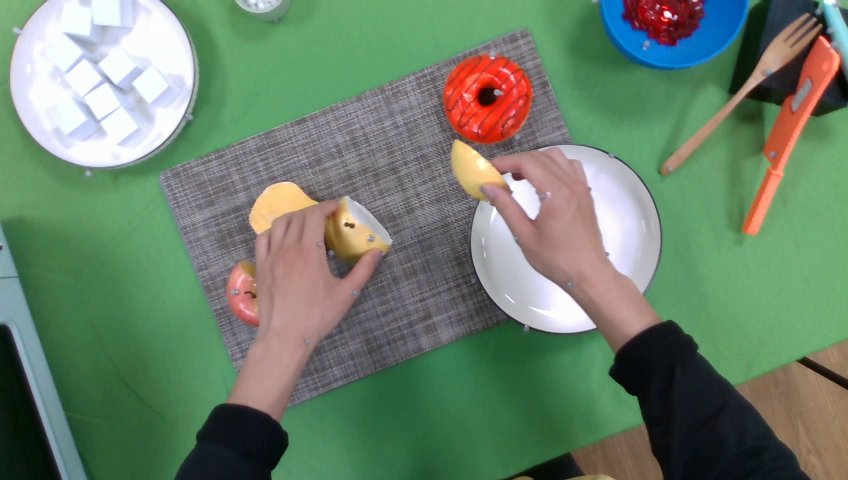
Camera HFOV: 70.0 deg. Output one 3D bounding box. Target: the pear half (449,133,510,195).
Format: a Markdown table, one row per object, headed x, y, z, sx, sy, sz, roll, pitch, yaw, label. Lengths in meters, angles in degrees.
| x | y | z | sx | sy | sz | roll | pitch | yaw | label |
| --- | --- | --- | --- | --- | --- | --- | --- | --- | --- |
| 0.048 | -0.063 | 0.573 | 0.031 | 0.089 | 0.069 | -40 | 46 | 1 | pear half |

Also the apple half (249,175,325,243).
| x | y | z | sx | sy | sz | roll | pitch | yaw | label |
| --- | --- | --- | --- | --- | --- | --- | --- | --- | --- |
| -0.153 | -0.028 | 0.670 | 0.081 | 0.033 | 0.080 | 4 | 68 | -9 | apple half |

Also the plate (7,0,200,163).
| x | y | z | sx | sy | sz | roll | pitch | yaw | label |
| --- | --- | --- | --- | --- | --- | --- | --- | --- | --- |
| -0.350 | -0.188 | 0.676 | 0.208 | 0.039 | 0.207 | 0 | 91 | 1 | plate |

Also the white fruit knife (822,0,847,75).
| x | y | z | sx | sy | sz | roll | pitch | yaw | label |
| --- | --- | --- | --- | --- | --- | --- | --- | --- | --- |
| 0.421 | -0.247 | 0.627 | 0.027 | 0.016 | 0.207 | -20 | 88 | -28 | white fruit knife |

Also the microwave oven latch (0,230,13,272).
| x | y | z | sx | sy | sz | roll | pitch | yaw | label |
| --- | --- | --- | --- | --- | --- | --- | --- | --- | --- |
| -0.481 | -0.002 | 0.661 | 0.030 | 0.029 | 0.079 | -18 | 91 | 0 | microwave oven latch |

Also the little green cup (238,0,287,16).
| x | y | z | sx | sy | sz | roll | pitch | yaw | label |
| --- | --- | --- | --- | --- | --- | --- | --- | --- | --- |
| -0.180 | -0.281 | 0.673 | 0.061 | 0.038 | 0.061 | 0 | 90 | 1 | little green cup |

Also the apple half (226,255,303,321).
| x | y | z | sx | sy | sz | roll | pitch | yaw | label |
| --- | --- | --- | --- | --- | --- | --- | --- | --- | --- |
| -0.178 | 0.058 | 0.656 | 0.081 | 0.074 | 0.053 | 33 | 95 | -3 | apple half |

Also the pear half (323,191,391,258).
| x | y | z | sx | sy | sz | roll | pitch | yaw | label |
| --- | --- | --- | --- | --- | --- | --- | --- | --- | --- |
| -0.078 | -0.011 | 0.636 | 0.076 | 0.110 | 0.056 | 42 | 93 | 9 | pear half |

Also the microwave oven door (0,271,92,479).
| x | y | z | sx | sy | sz | roll | pitch | yaw | label |
| --- | --- | --- | --- | --- | --- | --- | --- | --- | --- |
| -0.414 | 0.206 | 0.562 | 0.039 | 0.244 | 0.355 | -19 | 90 | 1 | microwave oven door |

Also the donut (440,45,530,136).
| x | y | z | sx | sy | sz | roll | pitch | yaw | label |
| --- | --- | --- | --- | --- | --- | --- | --- | --- | --- |
| 0.066 | -0.163 | 0.664 | 0.099 | 0.048 | 0.099 | 0 | 92 | 4 | donut |

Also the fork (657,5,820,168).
| x | y | z | sx | sy | sz | roll | pitch | yaw | label |
| --- | --- | --- | --- | --- | --- | --- | --- | --- | --- |
| 0.326 | -0.156 | 0.643 | 0.028 | 0.018 | 0.208 | 36 | 111 | -7 | fork |

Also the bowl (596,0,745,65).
| x | y | z | sx | sy | sz | roll | pitch | yaw | label |
| --- | --- | --- | --- | --- | --- | --- | --- | --- | --- |
| 0.251 | -0.255 | 0.648 | 0.151 | 0.077 | 0.151 | 0 | 91 | 1 | bowl |

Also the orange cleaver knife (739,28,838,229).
| x | y | z | sx | sy | sz | roll | pitch | yaw | label |
| --- | --- | --- | --- | --- | --- | --- | --- | --- | --- |
| 0.381 | -0.115 | 0.645 | 0.012 | 0.077 | 0.212 | 15 | 116 | 6 | orange cleaver knife |

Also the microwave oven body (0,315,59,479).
| x | y | z | sx | sy | sz | roll | pitch | yaw | label |
| --- | --- | --- | --- | --- | --- | --- | --- | --- | --- |
| -0.565 | 0.213 | 0.569 | 0.326 | 0.260 | 0.441 | -19 | 91 | 0 | microwave oven body |

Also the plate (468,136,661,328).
| x | y | z | sx | sy | sz | roll | pitch | yaw | label |
| --- | --- | --- | --- | --- | --- | --- | --- | --- | --- |
| 0.152 | -0.008 | 0.668 | 0.209 | 0.038 | 0.209 | 0 | 91 | 0 | plate |
